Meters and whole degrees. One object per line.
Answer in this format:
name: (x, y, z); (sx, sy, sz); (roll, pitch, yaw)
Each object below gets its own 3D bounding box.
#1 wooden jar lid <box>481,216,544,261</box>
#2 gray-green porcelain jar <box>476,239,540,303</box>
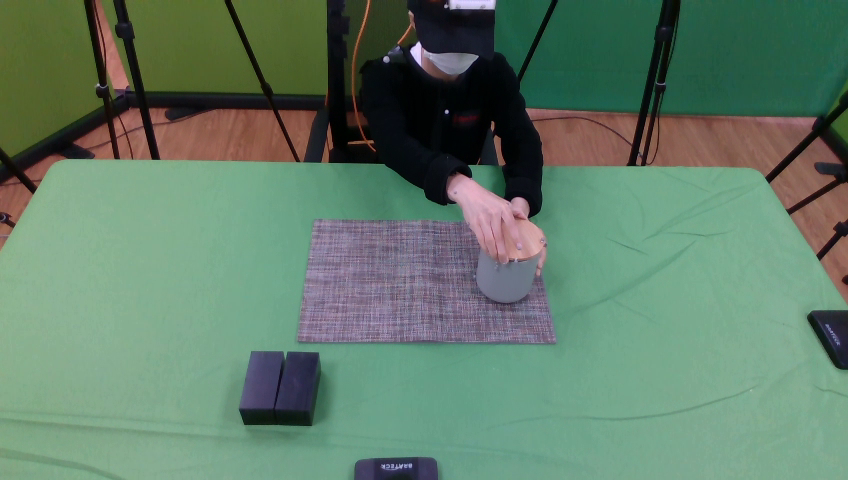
wooden jar lid: (0.152, 0.001, 1.045); (0.108, 0.021, 0.107); (4, 44, -3)
gray-green porcelain jar: (0.149, 0.044, 1.090); (0.106, 0.127, 0.105); (2, 46, -2)
